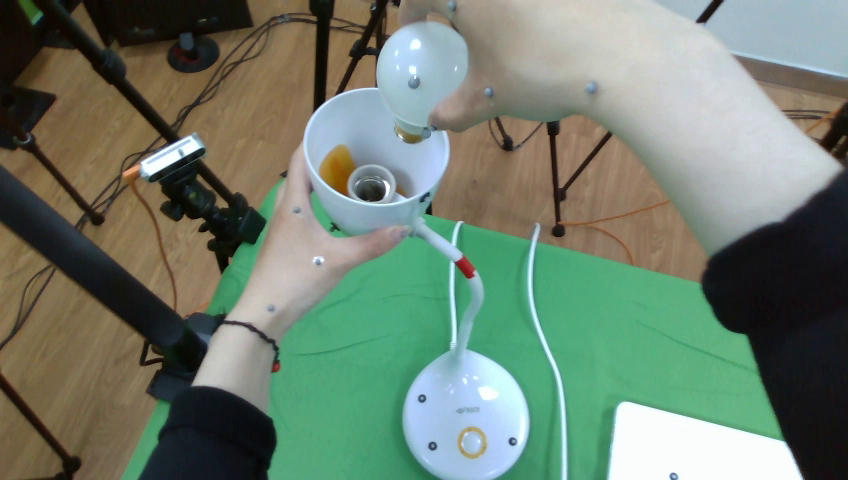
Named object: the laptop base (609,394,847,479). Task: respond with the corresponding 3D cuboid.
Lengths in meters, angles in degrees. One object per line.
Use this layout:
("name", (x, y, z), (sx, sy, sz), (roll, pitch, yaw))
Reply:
("laptop base", (0.390, 0.337, 0.711), (0.354, 0.023, 0.234), (14, 64, 6))

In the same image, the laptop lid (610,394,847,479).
("laptop lid", (0.389, 0.333, 0.700), (0.356, 0.013, 0.240), (15, 63, 7))

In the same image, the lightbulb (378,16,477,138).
("lightbulb", (-0.002, -0.096, 0.386), (0.060, 0.108, 0.059), (3, 74, -9))

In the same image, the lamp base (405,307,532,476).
("lamp base", (0.054, 0.166, 0.705), (0.161, 0.182, 0.177), (-13, 59, -8))

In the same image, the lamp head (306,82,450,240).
("lamp head", (-0.037, -0.050, 0.509), (0.112, 0.124, 0.111), (1, 60, -2))
